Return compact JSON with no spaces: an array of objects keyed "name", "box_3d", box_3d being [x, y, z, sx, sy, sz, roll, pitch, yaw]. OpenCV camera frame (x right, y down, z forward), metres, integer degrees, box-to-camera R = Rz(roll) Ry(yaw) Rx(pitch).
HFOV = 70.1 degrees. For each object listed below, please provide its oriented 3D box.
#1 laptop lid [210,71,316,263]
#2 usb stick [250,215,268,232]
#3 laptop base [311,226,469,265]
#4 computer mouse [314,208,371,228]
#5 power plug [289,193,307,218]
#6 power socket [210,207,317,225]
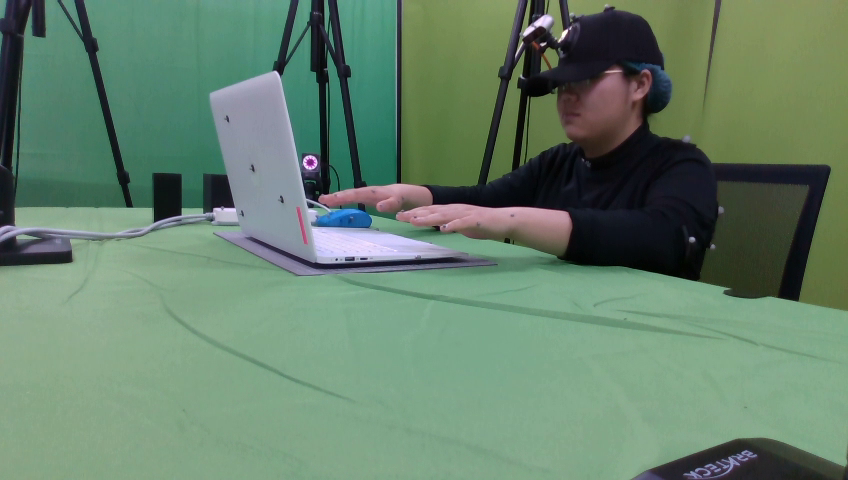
[{"name":"laptop lid","box_3d":[-0.240,-0.104,0.861,0.013,0.241,0.355,-16,17,-29]},{"name":"usb stick","box_3d":[-0.290,-0.028,1.070,0.021,0.027,0.059,-1,11,-30]},{"name":"laptop base","box_3d":[-0.122,0.007,0.952,0.237,0.023,0.352,2,6,-32]},{"name":"computer mouse","box_3d":[-0.173,-0.046,1.285,0.118,0.041,0.062,-7,13,-30]},{"name":"power plug","box_3d":[-0.281,-0.076,1.340,0.035,0.052,0.072,4,5,-18]},{"name":"power socket","box_3d":[-0.334,-0.051,1.281,0.228,0.032,0.072,-1,8,-28]}]
